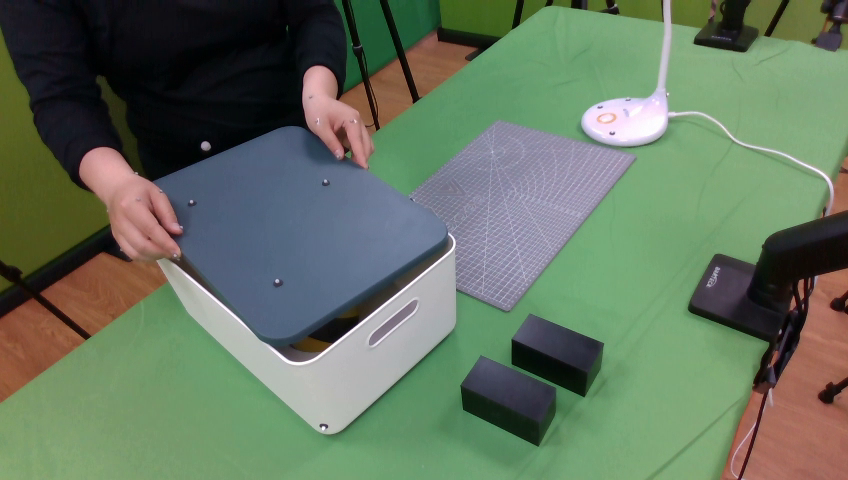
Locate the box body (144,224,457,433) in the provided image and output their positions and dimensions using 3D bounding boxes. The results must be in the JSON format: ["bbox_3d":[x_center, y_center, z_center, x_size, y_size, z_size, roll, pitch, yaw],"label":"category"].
[{"bbox_3d":[-0.158,0.054,0.819,0.361,0.161,0.255,29,52,34],"label":"box body"}]

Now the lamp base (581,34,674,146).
[{"bbox_3d":[0.392,-0.291,1.129,0.180,0.181,0.159,-11,41,-8],"label":"lamp base"}]

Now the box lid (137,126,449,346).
[{"bbox_3d":[-0.174,-0.031,0.772,0.264,0.015,0.368,-32,50,-29],"label":"box lid"}]

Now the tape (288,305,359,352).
[{"bbox_3d":[-0.149,0.097,0.843,0.117,0.053,0.116,-4,41,4],"label":"tape"}]
